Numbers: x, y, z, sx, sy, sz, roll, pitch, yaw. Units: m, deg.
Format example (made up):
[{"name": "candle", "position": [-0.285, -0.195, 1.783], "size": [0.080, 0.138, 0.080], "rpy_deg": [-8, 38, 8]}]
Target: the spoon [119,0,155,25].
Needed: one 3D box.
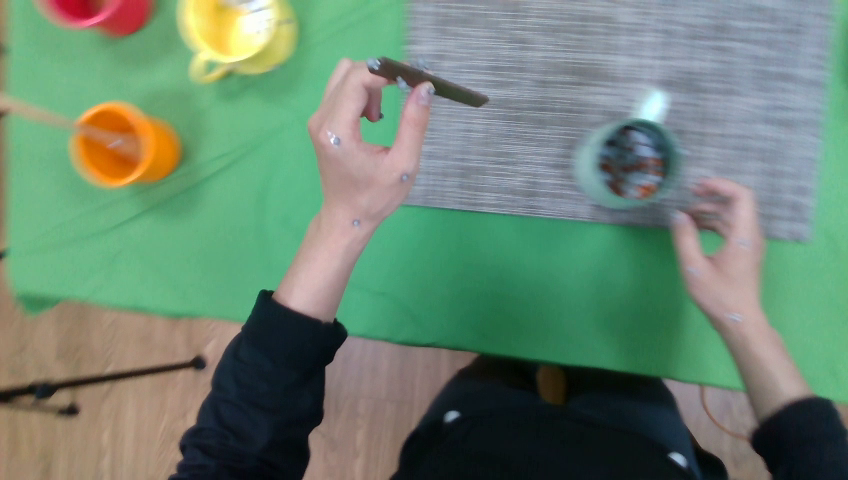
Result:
[{"name": "spoon", "position": [-0.335, -0.324, 0.643], "size": [0.041, 0.021, 0.195], "rpy_deg": [3, 140, 6]}]

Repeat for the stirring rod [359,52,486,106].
[{"name": "stirring rod", "position": [0.007, -0.113, 0.438], "size": [0.014, 0.177, 0.006], "rpy_deg": [-36, 77, 26]}]

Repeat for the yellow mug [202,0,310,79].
[{"name": "yellow mug", "position": [-0.195, -0.234, 0.675], "size": [0.100, 0.064, 0.131], "rpy_deg": [39, 99, 2]}]

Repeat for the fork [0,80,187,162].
[{"name": "fork", "position": [-0.364, -0.131, 0.660], "size": [0.209, 0.018, 0.028], "rpy_deg": [20, 96, -39]}]

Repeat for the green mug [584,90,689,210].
[{"name": "green mug", "position": [0.222, -0.092, 0.616], "size": [0.092, 0.105, 0.125], "rpy_deg": [23, 97, 5]}]
